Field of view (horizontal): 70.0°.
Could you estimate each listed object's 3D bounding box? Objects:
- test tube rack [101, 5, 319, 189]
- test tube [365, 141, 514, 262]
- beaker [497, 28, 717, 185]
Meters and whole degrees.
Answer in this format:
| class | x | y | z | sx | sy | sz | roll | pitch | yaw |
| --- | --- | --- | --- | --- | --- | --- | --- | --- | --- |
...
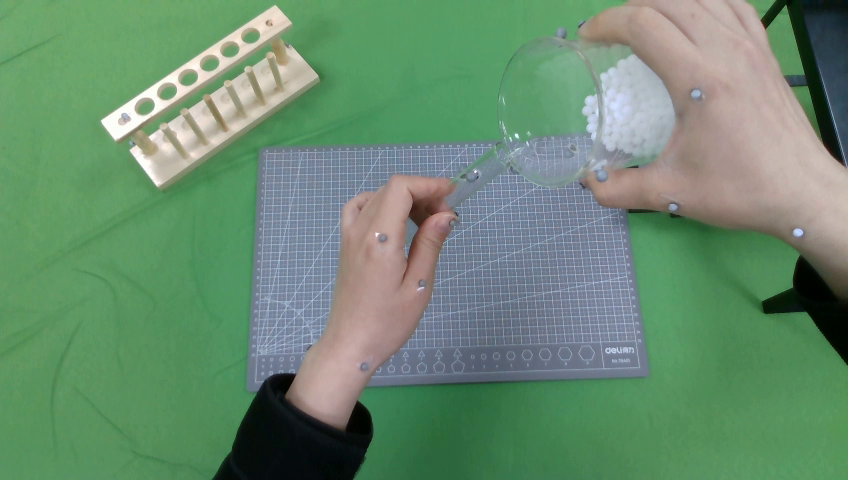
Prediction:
| class | x | y | z | sx | sy | sz | roll | pitch | yaw |
| --- | --- | --- | --- | --- | --- | --- | --- | --- | --- |
| test tube rack | -0.251 | -0.172 | 0.735 | 0.242 | 0.085 | 0.066 | -38 | 76 | -11 |
| test tube | 0.003 | -0.019 | 0.391 | 0.017 | 0.150 | 0.017 | 19 | 55 | -30 |
| beaker | 0.100 | -0.073 | 0.330 | 0.100 | 0.084 | 0.073 | -14 | 76 | -30 |
